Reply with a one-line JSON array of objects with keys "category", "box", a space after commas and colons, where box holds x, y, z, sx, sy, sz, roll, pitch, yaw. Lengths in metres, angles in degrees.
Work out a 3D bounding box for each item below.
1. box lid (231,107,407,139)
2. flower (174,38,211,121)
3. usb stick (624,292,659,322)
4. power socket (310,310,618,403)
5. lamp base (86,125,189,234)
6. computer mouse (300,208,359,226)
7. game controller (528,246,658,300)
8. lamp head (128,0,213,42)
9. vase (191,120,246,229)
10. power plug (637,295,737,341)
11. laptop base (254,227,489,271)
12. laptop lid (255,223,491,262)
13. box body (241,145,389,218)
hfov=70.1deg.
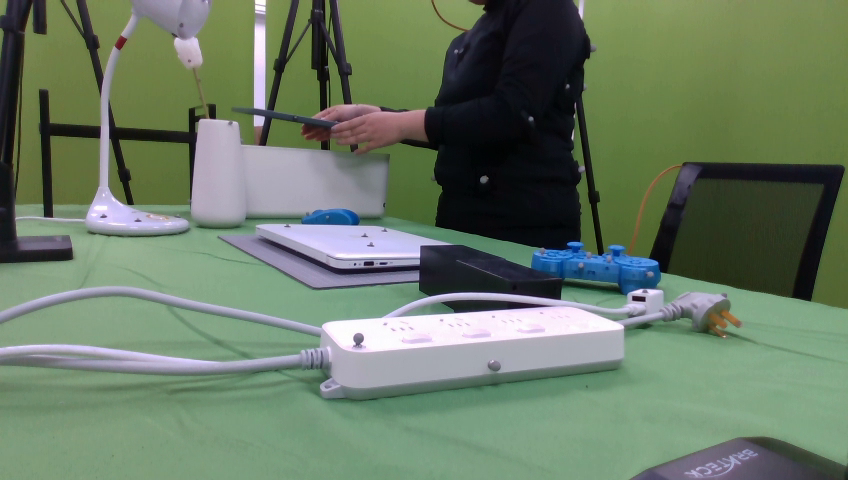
[{"category": "box lid", "box": [-0.250, -0.275, 1.426, 0.373, 0.015, 0.262, 4, 9, -28]}, {"category": "flower", "box": [-0.401, -0.207, 1.141, 0.038, 0.361, 0.044, -14, 3, 44]}, {"category": "usb stick", "box": [0.211, 0.064, 0.580, 0.021, 0.027, 0.059, -2, -4, 36]}, {"category": "power socket", "box": [0.033, 0.074, 0.415, 0.228, 0.032, 0.072, -1, 7, -24]}, {"category": "lamp base", "box": [-0.497, -0.105, 1.027, 0.179, 0.180, 0.160, 1, 7, 3]}, {"category": "computer mouse", "box": [-0.194, -0.045, 1.241, 0.117, 0.041, 0.063, 1, 9, 11]}, {"category": "game controller", "box": [0.202, 0.036, 0.732, 0.155, 0.051, 0.097, 5, 10, 20]}, {"category": "lamp head", "box": [-0.423, -0.394, 0.980, 0.123, 0.112, 0.112, 20, 7, -3]}, {"category": "vase", "box": [-0.389, -0.123, 1.143, 0.098, 0.200, 0.098, 2, 9, 0]}, {"category": "power plug", "box": [0.235, 0.077, 0.535, 0.072, 0.035, 0.052, -34, 40, -5]}, {"category": "laptop base", "box": [-0.096, 0.012, 0.911, 0.237, 0.023, 0.352, 2, 6, -32]}, {"category": "laptop lid", "box": [-0.093, 0.000, 0.911, 0.243, 0.013, 0.355, 1, 7, -30]}, {"category": "box body", "box": [-0.297, -0.143, 1.474, 0.366, 0.160, 0.253, -1, 9, -30]}]
